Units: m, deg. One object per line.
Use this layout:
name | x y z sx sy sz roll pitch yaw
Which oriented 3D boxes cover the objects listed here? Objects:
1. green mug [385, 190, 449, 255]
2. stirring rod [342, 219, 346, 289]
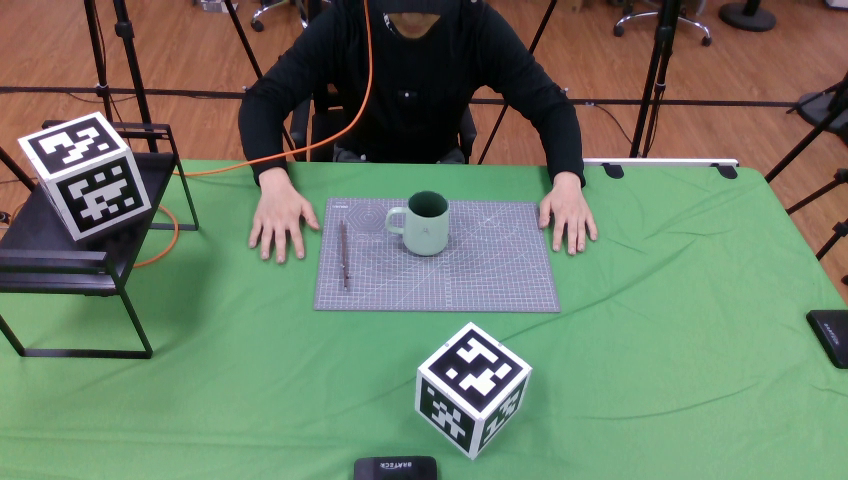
green mug | -0.013 -0.033 1.166 0.125 0.105 0.092 2 46 -2
stirring rod | -0.154 0.024 1.161 0.006 0.014 0.175 -6 47 -2
